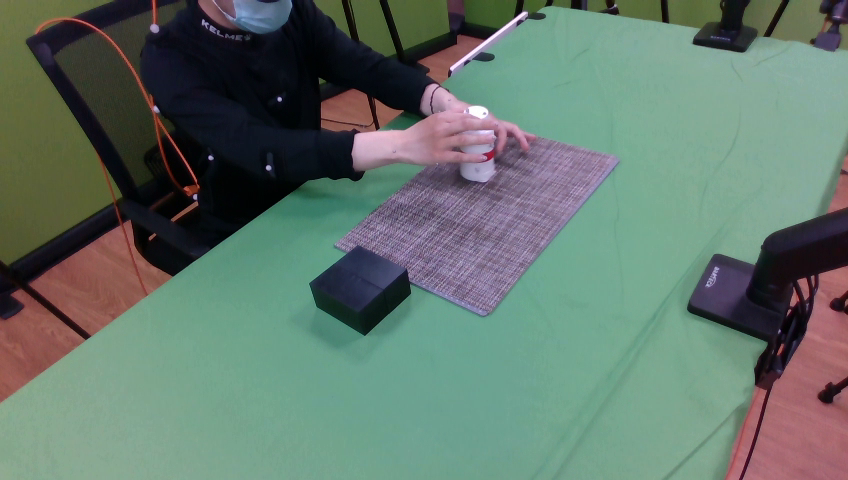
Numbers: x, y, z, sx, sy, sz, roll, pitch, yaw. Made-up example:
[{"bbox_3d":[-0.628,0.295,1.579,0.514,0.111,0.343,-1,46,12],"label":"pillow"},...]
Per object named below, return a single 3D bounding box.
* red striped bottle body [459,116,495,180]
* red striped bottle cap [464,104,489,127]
[{"bbox_3d":[0.094,-0.171,1.071,0.063,0.120,0.062,-2,40,2],"label":"red striped bottle body"},{"bbox_3d":[0.090,-0.214,1.035,0.044,0.018,0.044,-4,47,5],"label":"red striped bottle cap"}]
